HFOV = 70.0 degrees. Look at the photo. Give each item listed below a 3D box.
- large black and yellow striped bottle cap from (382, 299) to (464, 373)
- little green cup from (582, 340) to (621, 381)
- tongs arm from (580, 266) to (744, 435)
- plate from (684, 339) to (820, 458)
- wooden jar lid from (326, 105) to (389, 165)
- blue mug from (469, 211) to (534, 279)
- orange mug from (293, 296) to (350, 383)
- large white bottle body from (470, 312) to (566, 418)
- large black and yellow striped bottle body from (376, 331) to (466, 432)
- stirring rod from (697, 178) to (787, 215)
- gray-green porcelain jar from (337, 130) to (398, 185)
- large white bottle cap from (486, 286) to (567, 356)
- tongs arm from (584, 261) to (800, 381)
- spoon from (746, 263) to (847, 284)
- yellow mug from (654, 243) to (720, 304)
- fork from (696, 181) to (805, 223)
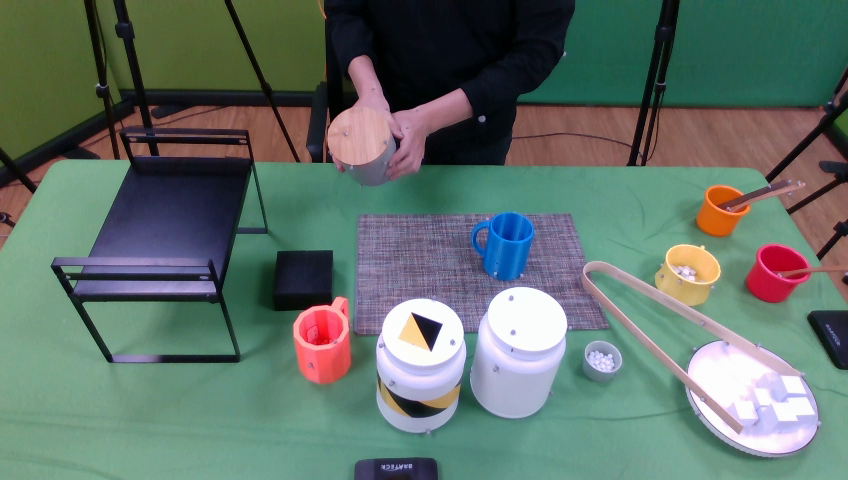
[{"bbox_3d":[-0.002,0.132,0.843,0.115,0.019,0.114,2,46,-1],"label":"large black and yellow striped bottle cap"},{"bbox_3d":[0.295,0.203,1.015,0.061,0.039,0.061,2,45,-2],"label":"little green cup"},{"bbox_3d":[0.384,0.173,1.028,0.028,0.028,0.385,-25,46,-15],"label":"tongs arm"},{"bbox_3d":[0.523,0.256,0.982,0.208,0.039,0.206,2,46,-2],"label":"plate"},{"bbox_3d":[-0.111,-0.175,1.023,0.108,0.021,0.108,-1,76,6],"label":"wooden jar lid"},{"bbox_3d":[0.141,0.005,1.140,0.116,0.106,0.082,18,48,13],"label":"blue mug"},{"bbox_3d":[-0.157,0.154,0.985,0.083,0.101,0.125,17,52,11],"label":"orange mug"},{"bbox_3d":[0.143,0.173,0.930,0.131,0.185,0.130,2,46,-2],"label":"large white bottle body"},{"bbox_3d":[-0.007,0.189,0.905,0.131,0.185,0.130,2,46,-2],"label":"large black and yellow striped bottle body"},{"bbox_3d":[0.650,-0.088,1.245,0.006,0.176,0.014,29,49,-39],"label":"stirring rod"},{"bbox_3d":[-0.104,-0.161,1.084,0.106,0.127,0.105,-1,77,7],"label":"gray-green porcelain jar"},{"bbox_3d":[0.147,0.114,0.869,0.115,0.018,0.114,3,46,-3],"label":"large white bottle cap"},{"bbox_3d":[0.452,0.137,1.064,0.051,0.027,0.382,-34,50,-27],"label":"tongs arm"},{"bbox_3d":[0.696,0.057,1.113,0.193,0.022,0.041,-16,27,48],"label":"spoon"},{"bbox_3d":[0.504,0.054,1.154,0.099,0.064,0.130,28,50,22],"label":"yellow mug"},{"bbox_3d":[0.659,-0.077,1.232,0.207,0.019,0.028,-26,35,34],"label":"fork"}]
